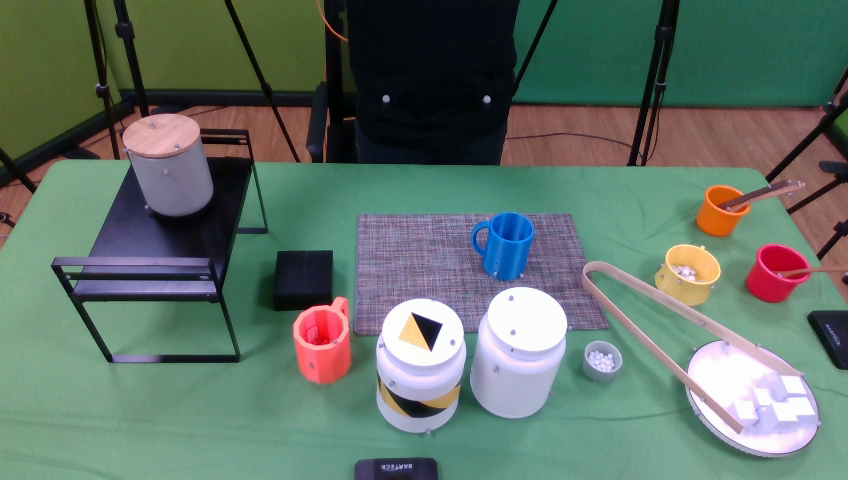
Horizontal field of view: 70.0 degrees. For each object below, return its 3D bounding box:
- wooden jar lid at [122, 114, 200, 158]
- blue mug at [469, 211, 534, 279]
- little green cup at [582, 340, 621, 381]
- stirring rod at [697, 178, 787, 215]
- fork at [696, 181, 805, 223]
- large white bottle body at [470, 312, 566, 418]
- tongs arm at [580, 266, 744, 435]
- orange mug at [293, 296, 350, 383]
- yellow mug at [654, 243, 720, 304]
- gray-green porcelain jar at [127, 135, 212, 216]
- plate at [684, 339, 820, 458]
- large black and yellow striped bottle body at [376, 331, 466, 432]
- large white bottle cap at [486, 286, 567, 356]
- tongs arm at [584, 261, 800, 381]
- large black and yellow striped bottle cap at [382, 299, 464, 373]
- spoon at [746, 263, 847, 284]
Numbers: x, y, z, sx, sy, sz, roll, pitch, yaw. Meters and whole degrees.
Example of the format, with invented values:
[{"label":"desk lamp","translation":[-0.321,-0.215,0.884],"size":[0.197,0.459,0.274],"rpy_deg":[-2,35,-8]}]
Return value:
[{"label":"wooden jar lid","translation":[-0.390,-0.152,0.904],"size":[0.108,0.021,0.107],"rpy_deg":[3,45,-3]},{"label":"blue mug","translation":[0.141,0.005,1.140],"size":[0.116,0.106,0.082],"rpy_deg":[18,48,13]},{"label":"little green cup","translation":[0.295,0.204,1.015],"size":[0.061,0.039,0.061],"rpy_deg":[2,45,-2]},{"label":"stirring rod","translation":[0.650,-0.088,1.246],"size":[0.006,0.176,0.014],"rpy_deg":[29,49,-38]},{"label":"fork","translation":[0.659,-0.077,1.232],"size":[0.207,0.019,0.028],"rpy_deg":[-26,35,34]},{"label":"large white bottle body","translation":[0.143,0.173,0.930],"size":[0.131,0.185,0.130],"rpy_deg":[2,46,-2]},{"label":"tongs arm","translation":[0.384,0.172,1.028],"size":[0.028,0.028,0.385],"rpy_deg":[-25,46,-15]},{"label":"orange mug","translation":[-0.157,0.154,0.985],"size":[0.083,0.101,0.125],"rpy_deg":[17,52,11]},{"label":"yellow mug","translation":[0.504,0.054,1.154],"size":[0.099,0.064,0.130],"rpy_deg":[28,50,22]},{"label":"gray-green porcelain jar","translation":[-0.394,-0.109,0.949],"size":[0.106,0.127,0.105],"rpy_deg":[3,46,-2]},{"label":"plate","translation":[0.523,0.256,0.982],"size":[0.208,0.039,0.206],"rpy_deg":[2,46,-2]},{"label":"large black and yellow striped bottle body","translation":[-0.007,0.189,0.905],"size":[0.131,0.185,0.130],"rpy_deg":[2,46,-2]},{"label":"large white bottle cap","translation":[0.147,0.114,0.869],"size":[0.115,0.018,0.114],"rpy_deg":[3,46,-3]},{"label":"tongs arm","translation":[0.452,0.137,1.063],"size":[0.051,0.027,0.382],"rpy_deg":[-34,50,-27]},{"label":"large black and yellow striped bottle cap","translation":[-0.002,0.132,0.843],"size":[0.115,0.019,0.114],"rpy_deg":[2,46,-1]},{"label":"spoon","translation":[0.696,0.057,1.113],"size":[0.193,0.022,0.041],"rpy_deg":[-16,28,48]}]
